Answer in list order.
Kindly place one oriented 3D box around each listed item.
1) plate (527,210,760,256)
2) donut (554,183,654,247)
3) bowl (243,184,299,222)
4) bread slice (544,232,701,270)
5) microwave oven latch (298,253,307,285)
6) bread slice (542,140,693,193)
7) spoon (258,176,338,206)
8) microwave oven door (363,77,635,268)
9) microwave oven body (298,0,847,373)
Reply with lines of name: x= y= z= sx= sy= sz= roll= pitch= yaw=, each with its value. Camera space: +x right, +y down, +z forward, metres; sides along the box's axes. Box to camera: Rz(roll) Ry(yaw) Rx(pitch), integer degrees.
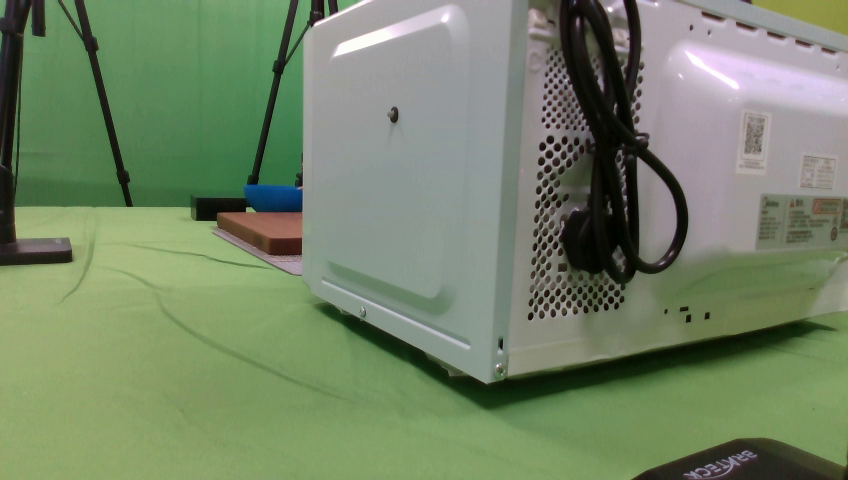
plate: x=0.203 y=-0.009 z=0.580 sx=0.208 sy=0.039 sz=0.207 roll=0 pitch=3 yaw=0
donut: x=0.181 y=-0.027 z=0.614 sx=0.099 sy=0.048 sz=0.099 roll=13 pitch=-13 yaw=3
bowl: x=-0.321 y=-0.081 z=1.334 sx=0.151 sy=0.077 sz=0.151 roll=3 pitch=7 yaw=0
bread slice: x=0.199 y=0.012 z=0.590 sx=0.105 sy=0.019 sz=0.131 roll=10 pitch=-11 yaw=-28
microwave oven latch: x=-0.082 y=0.027 z=0.583 sx=0.079 sy=0.029 sz=0.030 roll=-2 pitch=8 yaw=-33
bread slice: x=0.201 y=-0.074 z=0.614 sx=0.133 sy=0.018 sz=0.107 roll=23 pitch=15 yaw=35
spoon: x=-0.279 y=-0.112 z=1.356 sx=0.194 sy=0.021 sz=0.041 roll=-28 pitch=18 yaw=-27
microwave oven door: x=0.091 y=-0.098 z=0.823 sx=0.355 sy=0.243 sz=0.039 roll=4 pitch=8 yaw=15
microwave oven body: x=0.151 y=-0.055 z=0.542 sx=0.444 sy=0.260 sz=0.324 roll=-1 pitch=7 yaw=-33
